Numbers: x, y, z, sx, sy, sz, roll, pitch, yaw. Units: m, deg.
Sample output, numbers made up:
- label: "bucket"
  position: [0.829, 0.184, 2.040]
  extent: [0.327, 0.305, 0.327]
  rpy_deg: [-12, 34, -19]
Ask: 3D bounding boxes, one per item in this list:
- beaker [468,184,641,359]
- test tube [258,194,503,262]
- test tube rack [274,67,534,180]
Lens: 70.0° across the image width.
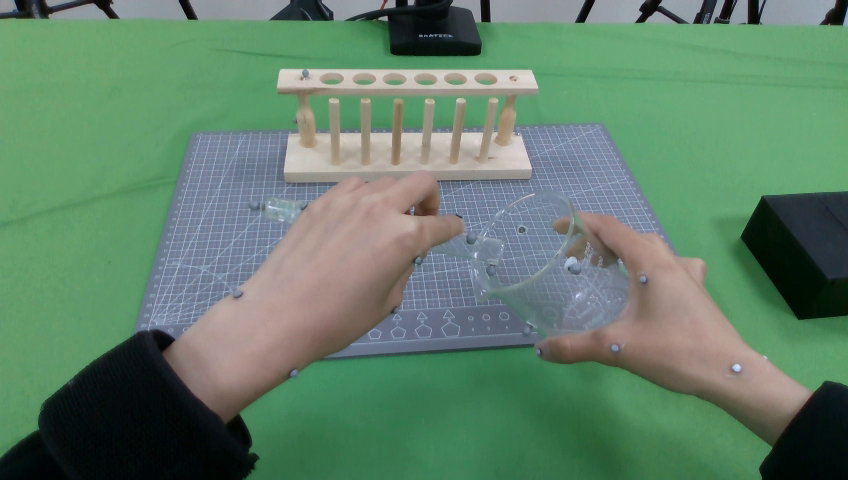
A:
- label: "beaker"
  position: [0.085, 0.027, 0.388]
  extent: [0.084, 0.101, 0.073]
  rpy_deg: [-49, 31, -1]
- label: "test tube"
  position: [-0.027, -0.008, 0.366]
  extent: [0.150, 0.017, 0.017]
  rpy_deg: [11, 45, 2]
- label: "test tube rack"
  position: [-0.018, -0.113, 0.589]
  extent: [0.243, 0.086, 0.066]
  rpy_deg: [-1, 45, -6]
